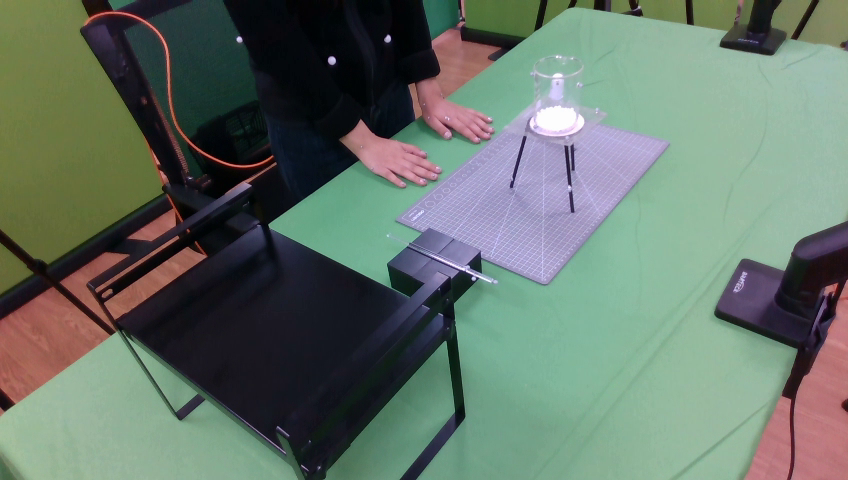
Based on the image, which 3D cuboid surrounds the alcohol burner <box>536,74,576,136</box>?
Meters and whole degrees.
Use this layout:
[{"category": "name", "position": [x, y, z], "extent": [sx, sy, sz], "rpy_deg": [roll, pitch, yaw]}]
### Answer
[{"category": "alcohol burner", "position": [0.255, -0.264, 1.173], "extent": [0.078, 0.119, 0.077], "rpy_deg": [-6, 40, 5]}]

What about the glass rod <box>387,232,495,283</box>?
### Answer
[{"category": "glass rod", "position": [0.020, 0.025, 0.880], "extent": [0.198, 0.008, 0.008], "rpy_deg": [23, 49, 32]}]

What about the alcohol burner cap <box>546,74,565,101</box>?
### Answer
[{"category": "alcohol burner cap", "position": [0.251, -0.292, 1.150], "extent": [0.034, 0.048, 0.033], "rpy_deg": [0, 41, 0]}]

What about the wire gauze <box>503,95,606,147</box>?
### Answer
[{"category": "wire gauze", "position": [0.211, -0.191, 0.976], "extent": [0.120, 0.011, 0.125], "rpy_deg": [24, 52, 32]}]

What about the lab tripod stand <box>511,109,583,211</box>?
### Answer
[{"category": "lab tripod stand", "position": [0.220, -0.138, 1.014], "extent": [0.148, 0.132, 0.147], "rpy_deg": [-3, 41, 3]}]

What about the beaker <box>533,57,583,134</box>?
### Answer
[{"category": "beaker", "position": [0.208, -0.225, 0.941], "extent": [0.073, 0.101, 0.084], "rpy_deg": [10, 44, 20]}]
